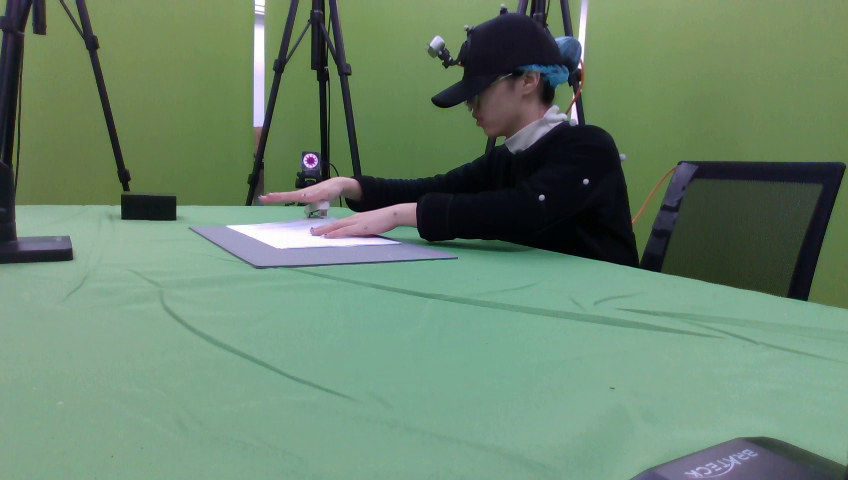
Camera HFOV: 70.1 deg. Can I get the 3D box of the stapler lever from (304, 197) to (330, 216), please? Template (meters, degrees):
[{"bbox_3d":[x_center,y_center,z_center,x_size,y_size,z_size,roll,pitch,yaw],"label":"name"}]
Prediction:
[{"bbox_3d":[-0.224,-0.070,1.266,0.027,0.040,0.117,1,5,-26],"label":"stapler lever"}]

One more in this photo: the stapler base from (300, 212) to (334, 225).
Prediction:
[{"bbox_3d":[-0.224,-0.046,1.267,0.041,0.024,0.130,1,3,-26],"label":"stapler base"}]
